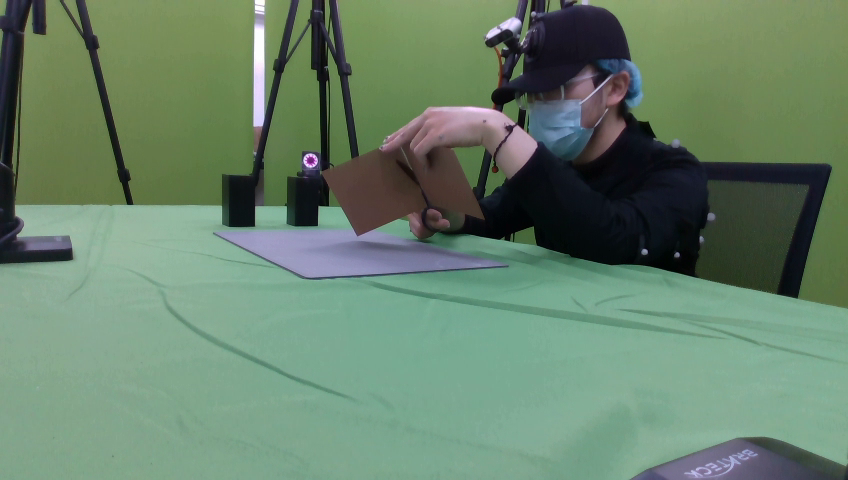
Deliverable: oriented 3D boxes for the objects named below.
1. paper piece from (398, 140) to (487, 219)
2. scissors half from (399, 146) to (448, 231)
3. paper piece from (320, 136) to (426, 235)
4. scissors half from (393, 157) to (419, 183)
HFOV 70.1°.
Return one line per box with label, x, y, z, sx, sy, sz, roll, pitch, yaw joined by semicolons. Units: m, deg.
paper piece;0.029;-0.095;0.942;0.137;0.136;0.008;15;54;46
scissors half;-0.003;-0.084;1.015;0.012;0.175;0.040;2;39;43
paper piece;-0.080;-0.087;1.001;0.136;0.136;0.004;-25;28;5
scissors half;0.006;-0.104;1.025;0.013;0.040;0.176;-3;-19;41
